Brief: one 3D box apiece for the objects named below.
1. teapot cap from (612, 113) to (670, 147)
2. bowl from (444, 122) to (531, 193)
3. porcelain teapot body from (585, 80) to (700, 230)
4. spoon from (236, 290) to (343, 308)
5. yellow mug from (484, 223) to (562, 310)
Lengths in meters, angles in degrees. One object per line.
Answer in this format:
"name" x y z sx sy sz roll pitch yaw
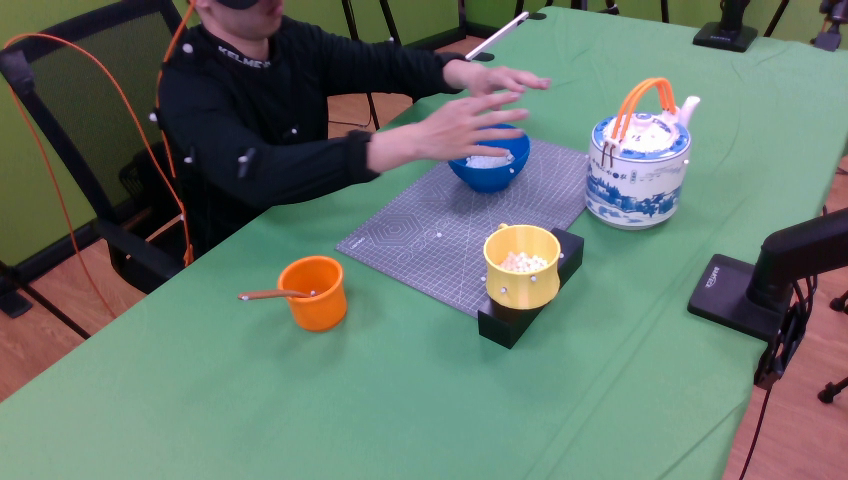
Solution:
"teapot cap" 0.323 -0.166 0.900 0.085 0.044 0.085 -3 38 3
"bowl" 0.112 -0.136 1.064 0.151 0.077 0.150 -4 41 4
"porcelain teapot body" 0.350 -0.149 0.936 0.206 0.226 0.144 -30 45 -25
"spoon" -0.176 0.076 0.808 0.041 0.195 0.021 23 93 30
"yellow mug" 0.126 0.025 0.811 0.100 0.064 0.130 -16 39 -9
